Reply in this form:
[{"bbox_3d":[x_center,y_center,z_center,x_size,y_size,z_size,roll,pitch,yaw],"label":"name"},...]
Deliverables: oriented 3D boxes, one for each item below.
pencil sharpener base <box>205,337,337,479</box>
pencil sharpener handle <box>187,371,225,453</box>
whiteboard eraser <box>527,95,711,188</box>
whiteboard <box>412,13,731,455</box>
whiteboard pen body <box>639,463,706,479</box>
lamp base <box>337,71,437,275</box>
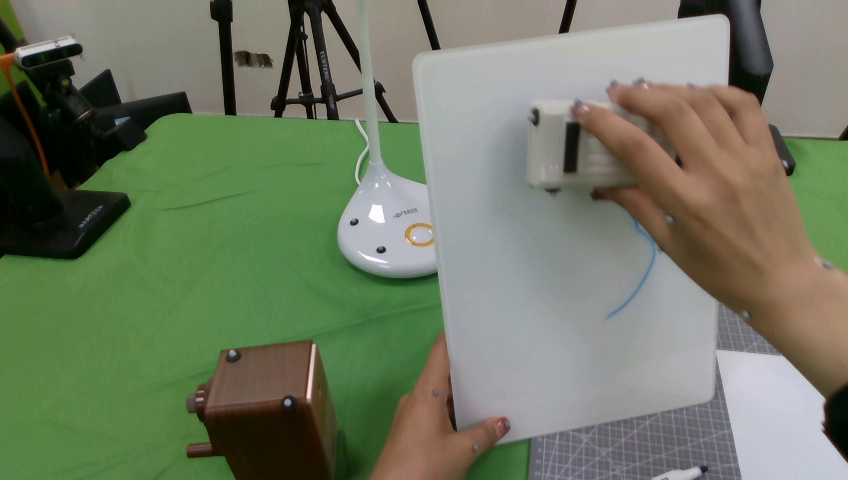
[{"bbox_3d":[-0.111,0.131,0.453,0.077,0.108,0.060,-6,39,-1],"label":"pencil sharpener base"},{"bbox_3d":[-0.163,0.129,0.441,0.030,0.068,0.035,-6,26,-1],"label":"pencil sharpener handle"},{"bbox_3d":[0.122,-0.063,0.387,0.113,0.056,0.041,-3,20,-9],"label":"whiteboard eraser"},{"bbox_3d":[0.108,-0.011,0.502,0.217,0.307,0.143,-9,19,-5],"label":"whiteboard"},{"bbox_3d":[0.143,0.184,0.434,0.141,0.017,0.017,-14,39,-13],"label":"whiteboard pen body"},{"bbox_3d":[-0.032,-0.081,0.655,0.161,0.182,0.177,-27,41,-26],"label":"lamp base"}]
